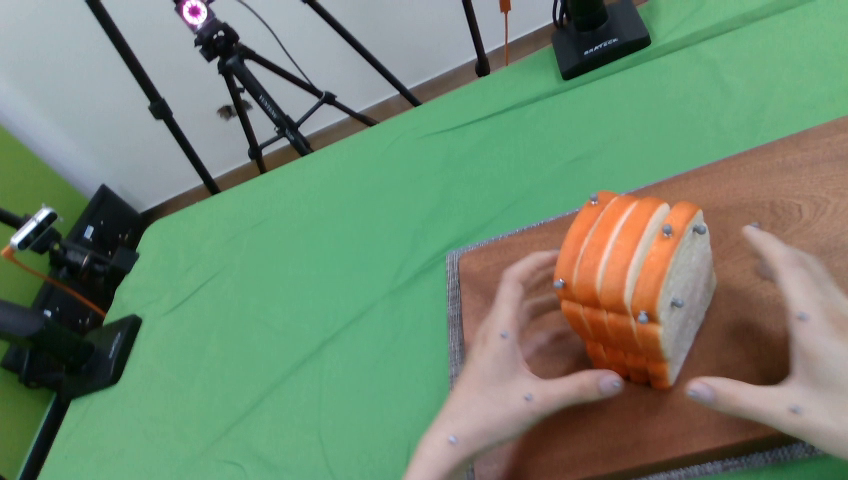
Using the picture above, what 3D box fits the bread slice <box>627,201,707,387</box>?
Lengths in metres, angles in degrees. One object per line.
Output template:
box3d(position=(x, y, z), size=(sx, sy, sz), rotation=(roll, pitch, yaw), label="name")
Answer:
box3d(position=(0.181, 0.039, 0.443), size=(0.019, 0.133, 0.104), rotation=(16, 64, 36), label="bread slice")

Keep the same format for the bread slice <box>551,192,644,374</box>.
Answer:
box3d(position=(0.144, 0.028, 0.478), size=(0.018, 0.136, 0.106), rotation=(12, 57, 43), label="bread slice")
